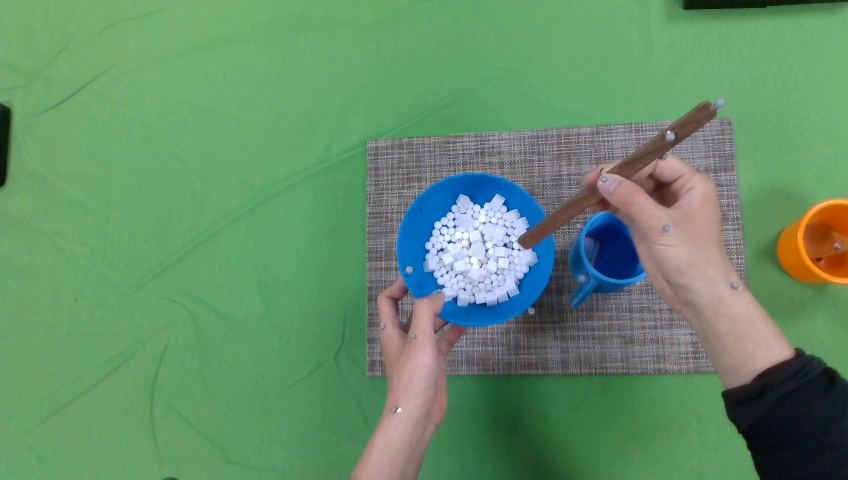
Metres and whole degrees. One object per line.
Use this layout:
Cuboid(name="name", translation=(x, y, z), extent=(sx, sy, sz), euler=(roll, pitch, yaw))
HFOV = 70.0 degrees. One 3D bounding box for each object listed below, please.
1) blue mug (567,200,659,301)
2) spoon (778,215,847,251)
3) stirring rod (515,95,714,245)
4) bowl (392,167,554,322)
Cuboid(name="blue mug", translation=(0.197, 0.020, 0.675), extent=(0.082, 0.106, 0.116), euler=(36, 88, 11))
Cuboid(name="spoon", translation=(0.472, 0.000, 0.627), extent=(0.022, 0.192, 0.041), euler=(25, 81, -34))
Cuboid(name="stirring rod", translation=(0.135, -0.047, 0.452), extent=(0.014, 0.006, 0.176), euler=(41, 124, -14))
Cuboid(name="bowl", translation=(0.047, 0.011, 0.603), extent=(0.151, 0.077, 0.150), euler=(0, 77, 1))
